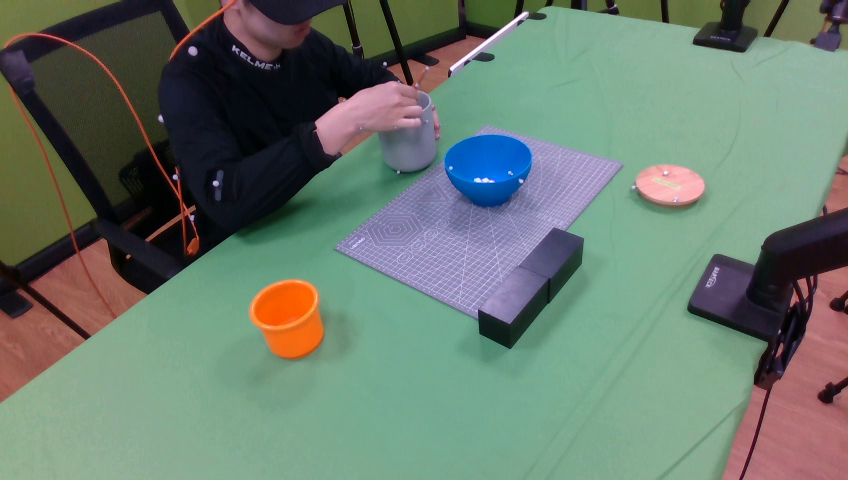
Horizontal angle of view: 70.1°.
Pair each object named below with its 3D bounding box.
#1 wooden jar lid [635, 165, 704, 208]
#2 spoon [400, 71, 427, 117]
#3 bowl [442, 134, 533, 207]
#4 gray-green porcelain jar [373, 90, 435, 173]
[{"bbox_3d":[0.411,-0.089,1.014,0.108,0.021,0.108,-5,41,5],"label":"wooden jar lid"},{"bbox_3d":[-0.031,-0.237,1.082,0.042,0.193,0.021,-27,73,-29],"label":"spoon"},{"bbox_3d":[0.110,-0.109,1.033,0.151,0.077,0.150,-4,41,4],"label":"bowl"},{"bbox_3d":[-0.034,-0.198,1.125,0.106,0.127,0.105,-4,40,4],"label":"gray-green porcelain jar"}]
